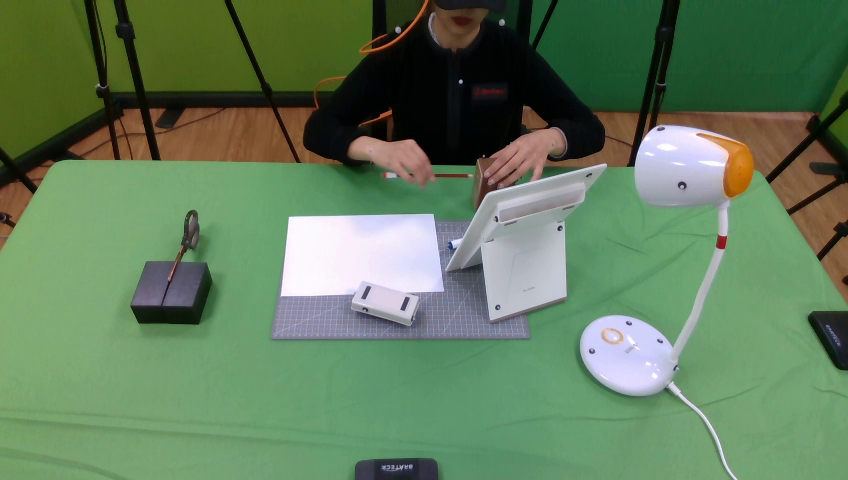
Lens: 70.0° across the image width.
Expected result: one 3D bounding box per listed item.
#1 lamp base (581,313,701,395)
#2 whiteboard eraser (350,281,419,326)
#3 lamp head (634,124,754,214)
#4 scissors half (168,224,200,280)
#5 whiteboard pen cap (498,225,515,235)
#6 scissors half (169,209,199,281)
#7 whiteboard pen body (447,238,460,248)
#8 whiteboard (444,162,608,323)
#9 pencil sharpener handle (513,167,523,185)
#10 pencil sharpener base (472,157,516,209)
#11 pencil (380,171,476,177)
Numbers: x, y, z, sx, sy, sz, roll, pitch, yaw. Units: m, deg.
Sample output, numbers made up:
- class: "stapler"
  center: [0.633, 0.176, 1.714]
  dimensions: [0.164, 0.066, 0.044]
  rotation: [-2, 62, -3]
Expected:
- class: "lamp base"
  center: [0.361, 0.144, 0.972]
  dimensions: [0.178, 0.181, 0.160]
  rotation: [34, 53, 23]
- class: "whiteboard eraser"
  center: [-0.069, 0.113, 1.065]
  dimensions: [0.112, 0.042, 0.055]
  rotation: [14, 46, 9]
- class: "lamp head"
  center: [0.351, -0.089, 0.775]
  dimensions: [0.112, 0.113, 0.122]
  rotation: [-30, 30, -28]
- class: "scissors half"
  center: [-0.440, 0.023, 1.111]
  dimensions: [0.013, 0.040, 0.174]
  rotation: [7, 29, -6]
- class: "whiteboard pen cap"
  center: [0.166, -0.019, 1.222]
  dimensions: [0.033, 0.018, 0.018]
  rotation: [-14, 49, -19]
- class: "scissors half"
  center: [-0.438, 0.007, 1.098]
  dimensions: [0.013, 0.040, 0.174]
  rotation: [3, 48, -3]
- class: "whiteboard pen body"
  center: [0.112, -0.005, 1.204]
  dimensions: [0.141, 0.017, 0.017]
  rotation: [-14, 49, -18]
- class: "whiteboard"
  center: [0.186, 0.025, 1.029]
  dimensions: [0.217, 0.306, 0.143]
  rotation: [-14, 68, -18]
- class: "pencil sharpener handle"
  center: [0.197, -0.128, 1.259]
  dimensions: [0.031, 0.068, 0.036]
  rotation: [-2, 60, -7]
- class: "pencil sharpener base"
  center: [0.146, -0.115, 1.259]
  dimensions: [0.077, 0.107, 0.061]
  rotation: [-2, 46, -7]
- class: "pencil"
  center: [0.009, -0.134, 1.230]
  dimensions: [0.194, 0.012, 0.012]
  rotation: [-1, 46, -4]
